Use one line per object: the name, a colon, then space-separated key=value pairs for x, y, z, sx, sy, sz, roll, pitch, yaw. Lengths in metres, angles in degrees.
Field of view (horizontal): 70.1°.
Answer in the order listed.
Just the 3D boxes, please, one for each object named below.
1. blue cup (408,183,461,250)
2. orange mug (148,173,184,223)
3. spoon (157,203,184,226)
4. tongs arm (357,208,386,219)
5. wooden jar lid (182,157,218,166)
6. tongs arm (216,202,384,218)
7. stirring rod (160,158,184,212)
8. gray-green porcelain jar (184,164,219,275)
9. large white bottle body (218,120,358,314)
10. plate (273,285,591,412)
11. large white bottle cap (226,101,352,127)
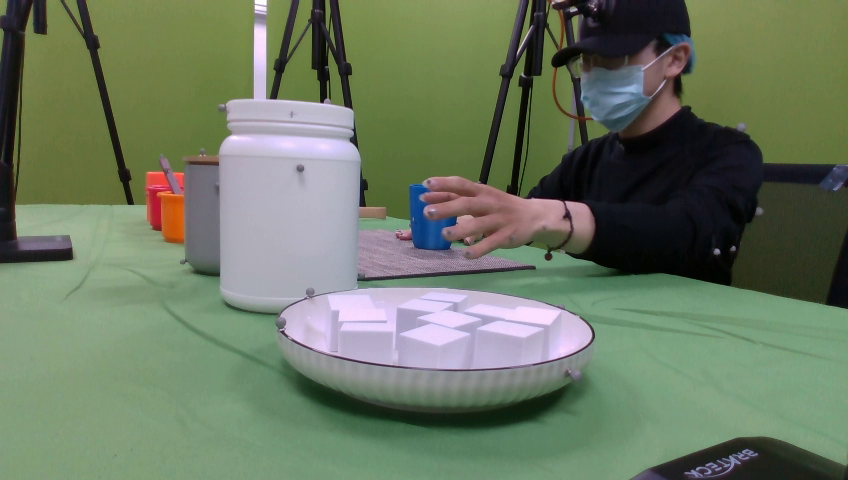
blue cup: x=0.015 y=-0.038 z=0.969 sx=0.093 sy=0.100 sz=0.092 roll=3 pitch=9 yaw=0
orange mug: x=-0.490 y=-0.087 z=1.222 sx=0.127 sy=0.101 sz=0.083 roll=-9 pitch=13 yaw=-38
spoon: x=-0.425 y=-0.094 z=1.117 sx=0.041 sy=0.022 sz=0.194 roll=5 pitch=51 yaw=29
tongs arm: x=-0.251 y=-0.062 z=1.360 sx=0.387 sy=0.026 sz=0.050 roll=-1 pitch=4 yaw=-31
wooden jar lid: x=-0.227 y=-0.086 z=0.714 sx=0.108 sy=0.020 sz=0.108 roll=0 pitch=6 yaw=0
tongs arm: x=-0.288 y=-0.071 z=1.435 sx=0.389 sy=0.027 sz=0.028 roll=1 pitch=0 yaw=-17
stirring rod: x=-0.390 y=-0.070 z=0.972 sx=0.014 sy=0.006 sz=0.175 roll=-2 pitch=50 yaw=-48
gray-green porcelain jar: x=-0.230 y=-0.025 z=0.722 sx=0.106 sy=0.126 sz=0.106 roll=3 pitch=7 yaw=0
large white bottle body: x=-0.128 y=-0.033 z=0.578 sx=0.131 sy=0.184 sz=0.130 roll=2 pitch=7 yaw=0
plate: x=0.005 y=0.069 z=0.408 sx=0.208 sy=0.039 sz=0.207 roll=2 pitch=7 yaw=0
large white bottle cap: x=-0.125 y=-0.116 z=0.566 sx=0.115 sy=0.018 sz=0.115 roll=2 pitch=8 yaw=0
